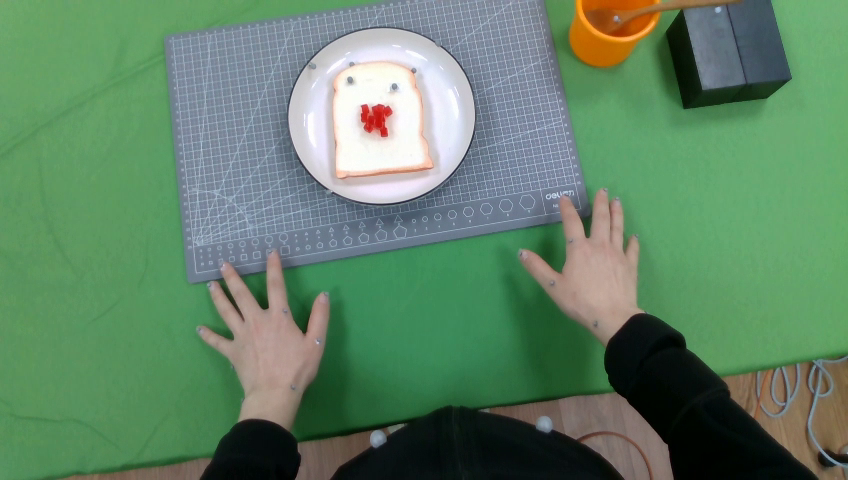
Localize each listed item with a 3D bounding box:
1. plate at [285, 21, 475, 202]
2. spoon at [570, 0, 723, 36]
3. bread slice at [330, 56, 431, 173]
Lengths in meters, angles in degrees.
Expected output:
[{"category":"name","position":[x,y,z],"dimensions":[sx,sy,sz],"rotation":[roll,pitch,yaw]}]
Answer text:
[{"category":"plate","position":[-0.047,-0.141,0.677],"dimensions":[0.209,0.038,0.208],"rotation":[0,79,0]},{"category":"spoon","position":[0.242,-0.247,0.644],"dimensions":[0.022,0.192,0.041],"rotation":[29,75,-40]},{"category":"bread slice","position":[-0.055,-0.141,0.678],"dimensions":[0.107,0.018,0.133],"rotation":[-9,80,-3]}]
